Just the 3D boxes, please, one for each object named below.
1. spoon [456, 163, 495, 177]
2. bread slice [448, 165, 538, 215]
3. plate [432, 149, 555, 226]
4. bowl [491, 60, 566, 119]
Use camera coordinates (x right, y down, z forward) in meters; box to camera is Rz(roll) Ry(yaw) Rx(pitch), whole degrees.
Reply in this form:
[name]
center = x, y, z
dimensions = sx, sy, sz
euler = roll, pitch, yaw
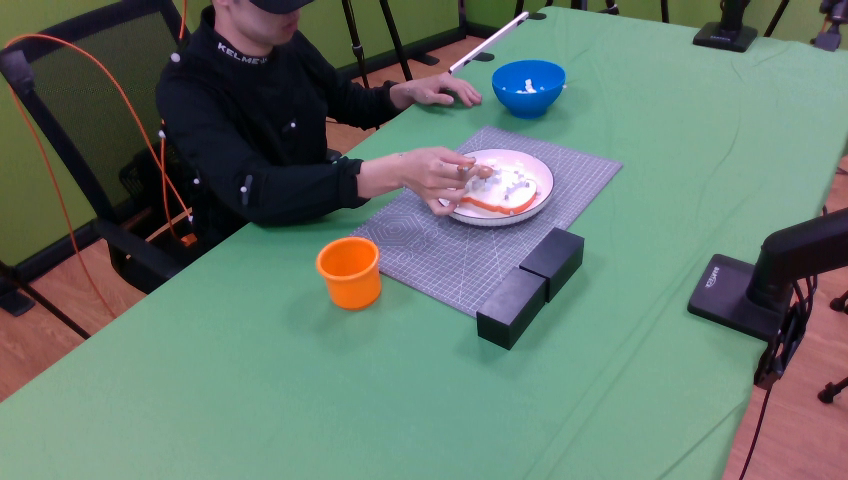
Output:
[spoon]
center = 0.079, -0.115, 0.971
dimensions = 0.041, 0.021, 0.194
euler = 15, 7, 16
[bread slice]
center = 0.126, -0.085, 1.037
dimensions = 0.133, 0.018, 0.107
euler = 17, 45, 27
[plate]
center = 0.119, -0.087, 1.037
dimensions = 0.209, 0.038, 0.208
euler = -4, 40, 4
[bowl]
center = 0.215, -0.303, 1.248
dimensions = 0.151, 0.077, 0.150
euler = -4, 41, 4
